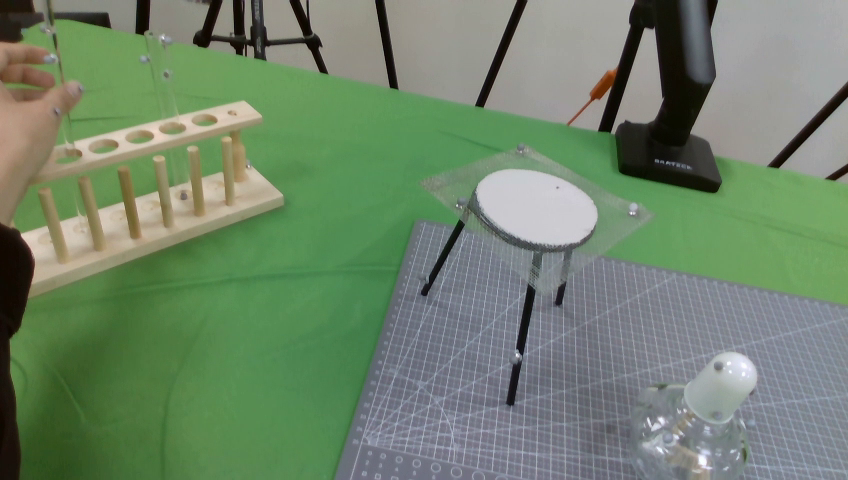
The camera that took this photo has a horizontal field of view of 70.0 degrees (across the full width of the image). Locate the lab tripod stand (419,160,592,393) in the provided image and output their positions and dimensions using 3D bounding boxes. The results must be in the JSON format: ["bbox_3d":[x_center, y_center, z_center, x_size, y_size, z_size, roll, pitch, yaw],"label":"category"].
[{"bbox_3d":[0.068,0.020,0.465,0.148,0.132,0.147,7,42,-6],"label":"lab tripod stand"}]

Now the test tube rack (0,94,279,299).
[{"bbox_3d":[-0.249,-0.047,0.521,0.243,0.086,0.066,-26,52,-35],"label":"test tube rack"}]

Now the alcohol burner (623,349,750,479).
[{"bbox_3d":[0.178,0.110,0.398,0.078,0.120,0.077,7,40,-5],"label":"alcohol burner"}]

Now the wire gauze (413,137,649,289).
[{"bbox_3d":[0.074,-0.030,0.421,0.121,0.011,0.124,-26,53,-34],"label":"wire gauze"}]

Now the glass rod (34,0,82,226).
[{"bbox_3d":[-0.283,-0.097,0.469,0.008,0.201,0.008,7,31,-4],"label":"glass rod"}]

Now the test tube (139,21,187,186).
[{"bbox_3d":[-0.224,-0.112,0.524,0.017,0.151,0.017,4,38,-3],"label":"test tube"}]

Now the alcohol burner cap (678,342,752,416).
[{"bbox_3d":[0.182,0.084,0.374,0.034,0.048,0.033,5,44,-4],"label":"alcohol burner cap"}]
